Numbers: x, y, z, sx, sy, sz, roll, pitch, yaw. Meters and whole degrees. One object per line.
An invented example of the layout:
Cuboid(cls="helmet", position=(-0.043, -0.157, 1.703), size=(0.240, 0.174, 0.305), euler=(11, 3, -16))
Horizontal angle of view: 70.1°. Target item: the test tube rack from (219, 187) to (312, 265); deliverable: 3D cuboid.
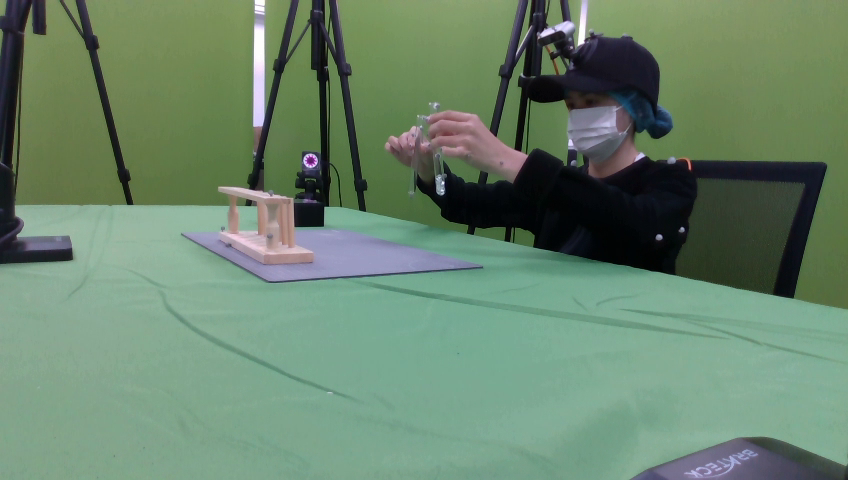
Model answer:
Cuboid(cls="test tube rack", position=(-0.235, -0.027, 0.872), size=(0.067, 0.085, 0.241), euler=(-2, 8, -31))

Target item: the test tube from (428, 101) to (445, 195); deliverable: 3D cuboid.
Cuboid(cls="test tube", position=(0.020, -0.145, 0.966), size=(0.017, 0.150, 0.017), euler=(-5, 13, 1))

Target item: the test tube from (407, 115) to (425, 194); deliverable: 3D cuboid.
Cuboid(cls="test tube", position=(-0.015, -0.155, 1.109), size=(0.017, 0.150, 0.017), euler=(8, 23, -3))
